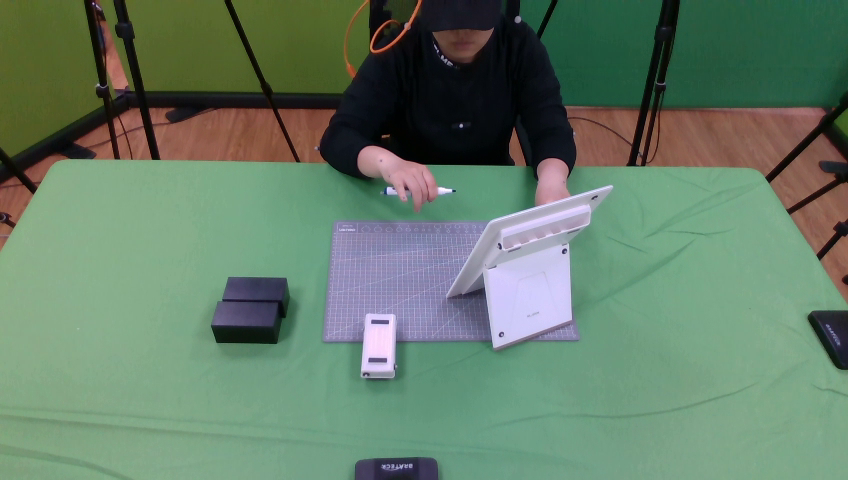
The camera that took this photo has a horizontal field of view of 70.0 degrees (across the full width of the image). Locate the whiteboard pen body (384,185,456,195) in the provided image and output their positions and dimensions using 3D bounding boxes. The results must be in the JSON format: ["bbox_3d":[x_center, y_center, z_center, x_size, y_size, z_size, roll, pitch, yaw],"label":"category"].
[{"bbox_3d":[-0.008,-0.097,1.172,0.141,0.017,0.017,-1,46,4],"label":"whiteboard pen body"}]

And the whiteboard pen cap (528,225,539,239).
[{"bbox_3d":[0.220,-0.016,1.218,0.018,0.018,0.033,16,30,11],"label":"whiteboard pen cap"}]

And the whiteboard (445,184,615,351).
[{"bbox_3d":[0.187,0.065,0.989,0.217,0.306,0.143,-15,68,-18],"label":"whiteboard"}]

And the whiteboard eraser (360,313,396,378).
[{"bbox_3d":[-0.075,0.176,1.006,0.055,0.042,0.112,3,50,-4],"label":"whiteboard eraser"}]
